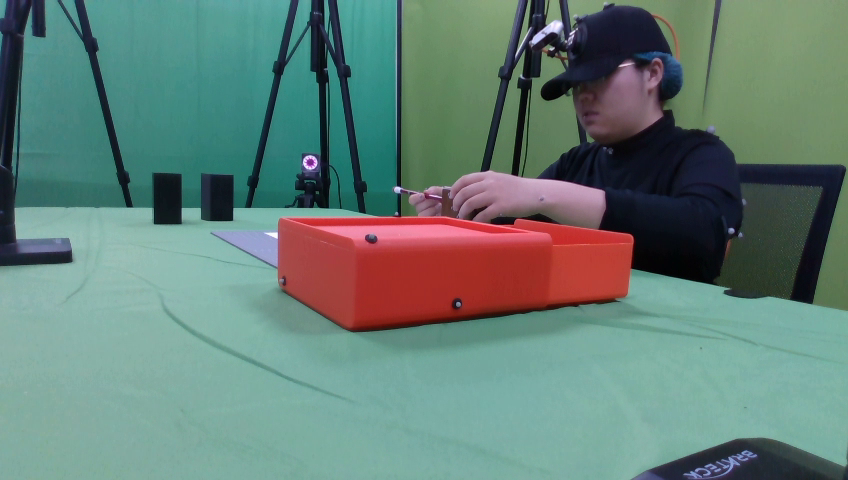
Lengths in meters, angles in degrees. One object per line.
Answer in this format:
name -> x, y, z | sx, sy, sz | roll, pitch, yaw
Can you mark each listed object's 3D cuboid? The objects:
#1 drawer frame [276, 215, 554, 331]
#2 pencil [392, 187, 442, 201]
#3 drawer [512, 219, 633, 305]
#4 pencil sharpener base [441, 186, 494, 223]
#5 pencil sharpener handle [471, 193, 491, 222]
drawer frame -> -0.015, 0.022, 0.610 | 0.215, 0.082, 0.200 | -2, 9, -32
pencil -> -0.008, -0.083, 1.105 | 0.012, 0.012, 0.193 | -2, 11, -33
drawer -> 0.085, 0.021, 0.674 | 0.213, 0.073, 0.193 | -2, 9, -32
pencil sharpener base -> 0.070, -0.032, 0.990 | 0.062, 0.107, 0.076 | -1, 8, -30
pencil sharpener handle -> 0.095, -0.038, 0.945 | 0.036, 0.067, 0.030 | 5, 6, -31
